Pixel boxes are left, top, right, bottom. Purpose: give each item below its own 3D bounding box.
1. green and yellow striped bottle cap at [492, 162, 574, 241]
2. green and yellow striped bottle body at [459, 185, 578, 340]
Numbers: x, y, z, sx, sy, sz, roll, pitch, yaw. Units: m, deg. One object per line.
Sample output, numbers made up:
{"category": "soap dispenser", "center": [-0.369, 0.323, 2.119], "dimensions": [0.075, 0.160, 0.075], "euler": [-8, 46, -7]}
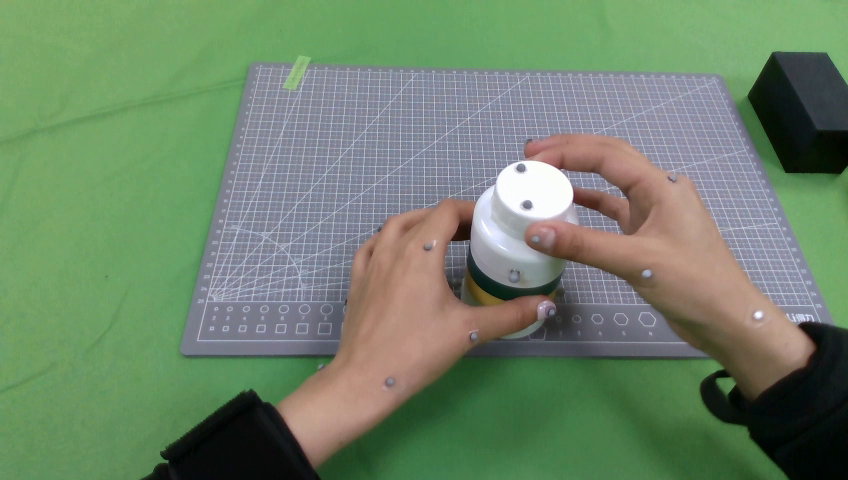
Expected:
{"category": "green and yellow striped bottle cap", "center": [0.061, -0.022, 0.338], "dimensions": [0.045, 0.020, 0.045], "euler": [1, 54, 0]}
{"category": "green and yellow striped bottle body", "center": [0.058, 0.009, 0.380], "dimensions": [0.063, 0.120, 0.062], "euler": [1, 54, -1]}
